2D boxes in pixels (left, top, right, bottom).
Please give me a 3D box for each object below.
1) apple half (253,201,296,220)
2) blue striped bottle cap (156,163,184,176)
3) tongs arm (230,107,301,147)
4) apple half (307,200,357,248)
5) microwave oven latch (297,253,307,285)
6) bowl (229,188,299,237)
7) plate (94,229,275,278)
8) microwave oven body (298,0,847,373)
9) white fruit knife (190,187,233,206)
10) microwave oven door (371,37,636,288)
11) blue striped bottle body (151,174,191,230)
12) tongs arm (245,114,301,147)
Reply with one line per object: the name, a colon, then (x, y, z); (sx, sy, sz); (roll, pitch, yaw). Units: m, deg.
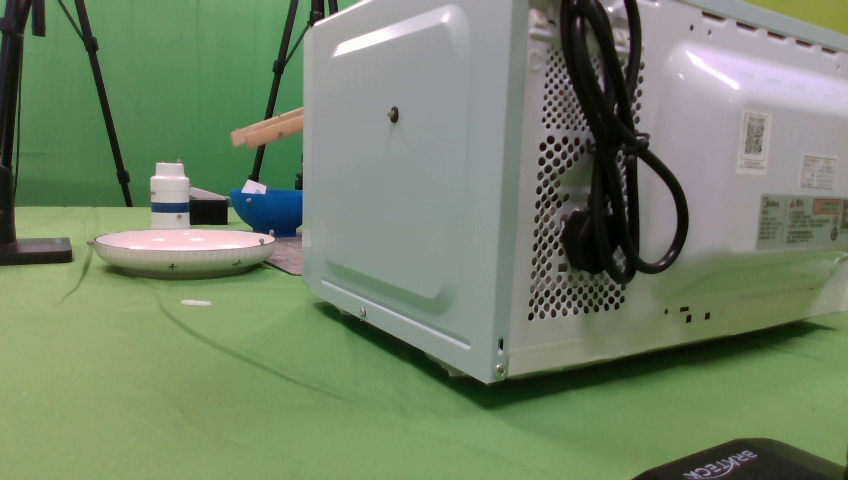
apple half: (-0.264, -0.053, 1.066); (0.081, 0.033, 0.081); (1, 8, 0)
blue striped bottle cap: (-0.438, -0.122, 1.045); (0.044, 0.020, 0.044); (4, 6, 0)
tongs arm: (-0.209, -0.246, 1.159); (0.050, 0.026, 0.386); (6, 27, 32)
apple half: (-0.135, -0.024, 0.942); (0.053, 0.074, 0.081); (13, 9, 38)
microwave oven latch: (-0.082, 0.027, 0.582); (0.079, 0.029, 0.030); (-1, 8, -33)
bowl: (-0.264, -0.048, 1.065); (0.151, 0.077, 0.151); (2, 8, 0)
plate: (-0.291, 0.016, 0.750); (0.208, 0.039, 0.207); (2, 7, 0)
microwave oven body: (0.151, -0.055, 0.543); (0.444, 0.260, 0.324); (-1, 8, -33)
white fruit knife: (-0.413, -0.081, 1.270); (0.208, 0.027, 0.016); (17, 13, -42)
microwave oven door: (0.109, -0.080, 0.686); (0.358, 0.243, 0.039); (-2, 9, -33)
blue striped bottle body: (-0.439, -0.071, 1.052); (0.063, 0.120, 0.063); (2, 7, 0)
tongs arm: (-0.187, -0.243, 1.144); (0.028, 0.028, 0.389); (4, 26, 36)
